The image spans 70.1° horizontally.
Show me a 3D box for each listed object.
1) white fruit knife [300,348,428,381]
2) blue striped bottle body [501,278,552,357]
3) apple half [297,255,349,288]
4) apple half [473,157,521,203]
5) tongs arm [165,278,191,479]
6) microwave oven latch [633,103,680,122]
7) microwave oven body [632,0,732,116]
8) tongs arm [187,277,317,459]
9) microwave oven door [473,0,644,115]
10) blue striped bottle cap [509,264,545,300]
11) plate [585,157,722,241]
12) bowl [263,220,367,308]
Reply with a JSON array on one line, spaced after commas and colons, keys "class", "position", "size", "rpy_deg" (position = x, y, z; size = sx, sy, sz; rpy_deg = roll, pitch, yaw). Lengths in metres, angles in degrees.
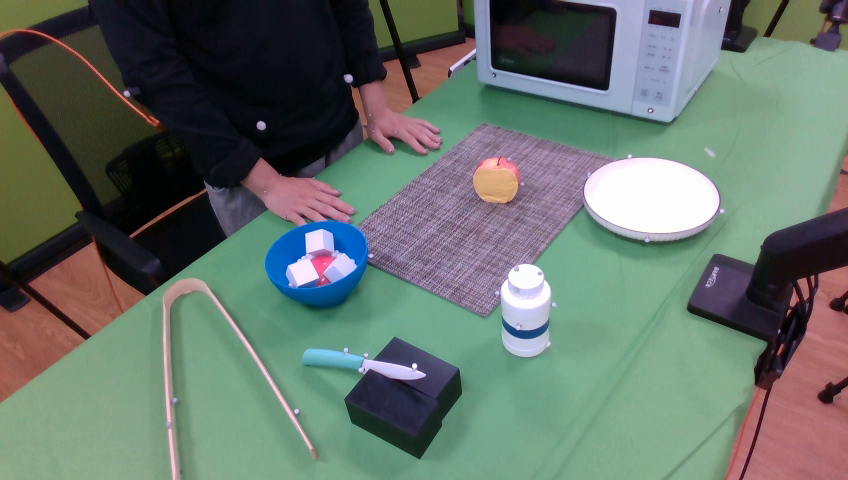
[{"class": "white fruit knife", "position": [-0.079, 0.154, 0.748], "size": [0.206, 0.027, 0.016], "rpy_deg": [1, 20, 34]}, {"class": "blue striped bottle body", "position": [0.130, 0.088, 0.769], "size": [0.063, 0.121, 0.063], "rpy_deg": [-4, 41, 4]}, {"class": "apple half", "position": [-0.154, 0.044, 0.889], "size": [0.081, 0.033, 0.081], "rpy_deg": [-2, 40, 2]}, {"class": "apple half", "position": [0.127, -0.106, 1.030], "size": [0.080, 0.075, 0.053], "rpy_deg": [4, 36, 19]}, {"class": "tongs arm", "position": [-0.313, 0.182, 0.789], "size": [0.051, 0.026, 0.381], "rpy_deg": [-19, 41, -14]}, {"class": "microwave oven latch", "position": [0.444, -0.249, 1.157], "size": [0.078, 0.029, 0.030], "rpy_deg": [20, 48, 30]}, {"class": "microwave oven body", "position": [0.377, -0.462, 1.267], "size": [0.438, 0.261, 0.327], "rpy_deg": [21, 48, 30]}, {"class": "tongs arm", "position": [-0.240, 0.154, 0.815], "size": [0.028, 0.028, 0.384], "rpy_deg": [-31, 46, -21]}, {"class": "microwave oven door", "position": [0.257, -0.396, 1.199], "size": [0.353, 0.245, 0.039], "rpy_deg": [21, 48, 29]}, {"class": "blue striped bottle cap", "position": [0.125, 0.051, 0.735], "size": [0.044, 0.021, 0.044], "rpy_deg": [-5, 39, 5]}, {"class": "plate", "position": [0.367, -0.063, 0.979], "size": [0.207, 0.039, 0.206], "rpy_deg": [-4, 40, 4]}, {"class": "bowl", "position": [-0.152, 0.047, 0.892], "size": [0.151, 0.077, 0.150], "rpy_deg": [-4, 40, 4]}]
